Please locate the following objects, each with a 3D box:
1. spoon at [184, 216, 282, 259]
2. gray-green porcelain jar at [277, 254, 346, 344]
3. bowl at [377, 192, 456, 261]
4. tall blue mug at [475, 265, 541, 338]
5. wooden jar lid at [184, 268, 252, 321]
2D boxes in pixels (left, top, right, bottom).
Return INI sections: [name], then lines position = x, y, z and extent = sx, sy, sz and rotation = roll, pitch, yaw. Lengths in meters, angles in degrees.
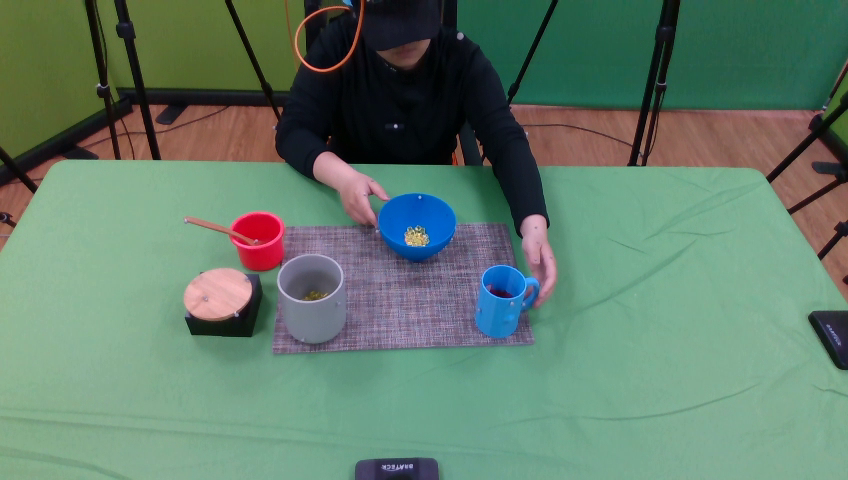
[spoon]
position = -0.341, -0.008, 1.096
extent = 0.021, 0.195, 0.041
rotation = -35, 47, 26
[gray-green porcelain jar]
position = -0.184, 0.102, 1.008
extent = 0.106, 0.127, 0.105
rotation = 2, 46, -2
[bowl]
position = -0.015, -0.013, 1.166
extent = 0.151, 0.077, 0.150
rotation = 2, 46, -2
[tall blue mug]
position = 0.142, 0.099, 1.047
extent = 0.077, 0.108, 0.107
rotation = 33, 53, 27
[wooden jar lid]
position = -0.343, 0.092, 1.015
extent = 0.108, 0.021, 0.107
rotation = 3, 46, -3
